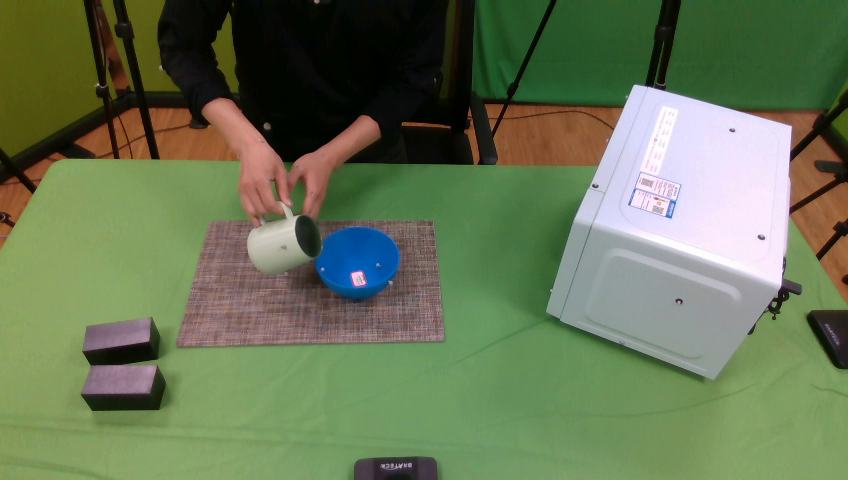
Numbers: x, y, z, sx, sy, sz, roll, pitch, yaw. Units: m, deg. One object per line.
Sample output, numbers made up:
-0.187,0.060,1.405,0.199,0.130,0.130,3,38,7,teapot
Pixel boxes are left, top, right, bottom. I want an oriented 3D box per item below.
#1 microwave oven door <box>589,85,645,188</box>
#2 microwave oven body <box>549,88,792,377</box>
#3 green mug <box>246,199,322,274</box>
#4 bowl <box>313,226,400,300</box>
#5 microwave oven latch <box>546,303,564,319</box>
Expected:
0.342,-0.107,1.149,0.039,0.245,0.354,20,48,15,microwave oven door
0.456,-0.028,1.088,0.325,0.261,0.440,20,47,16,microwave oven body
-0.248,-0.009,1.042,0.105,0.125,0.092,-16,12,24,green mug
-0.120,0.055,1.091,0.151,0.077,0.150,2,45,-2,bowl
0.242,0.102,1.081,0.030,0.029,0.079,22,48,17,microwave oven latch
